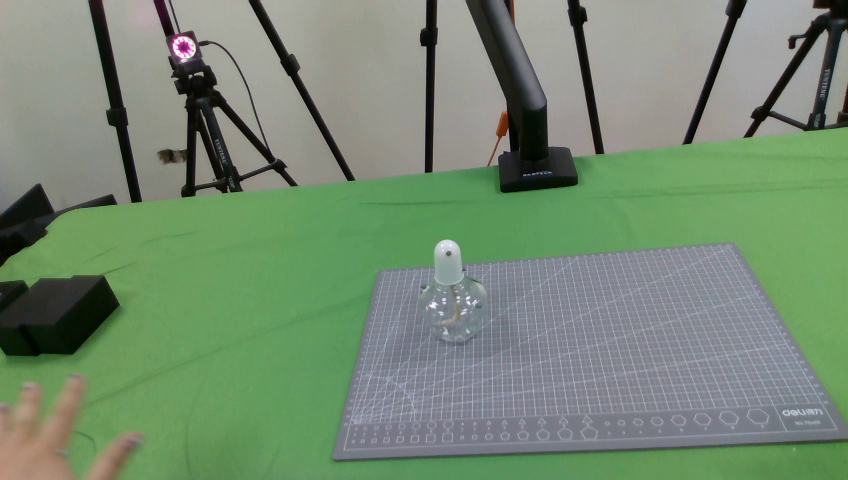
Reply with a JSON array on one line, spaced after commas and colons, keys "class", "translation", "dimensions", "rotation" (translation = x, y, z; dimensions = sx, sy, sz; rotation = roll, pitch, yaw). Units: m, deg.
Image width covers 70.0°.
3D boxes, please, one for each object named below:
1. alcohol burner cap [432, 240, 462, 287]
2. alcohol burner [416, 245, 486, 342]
[{"class": "alcohol burner cap", "translation": [0.024, 0.022, 0.641], "dimensions": [0.034, 0.048, 0.033], "rotation": [-2, 34, 2]}, {"class": "alcohol burner", "translation": [0.028, 0.053, 0.660], "dimensions": [0.078, 0.120, 0.077], "rotation": [-6, 34, 4]}]
